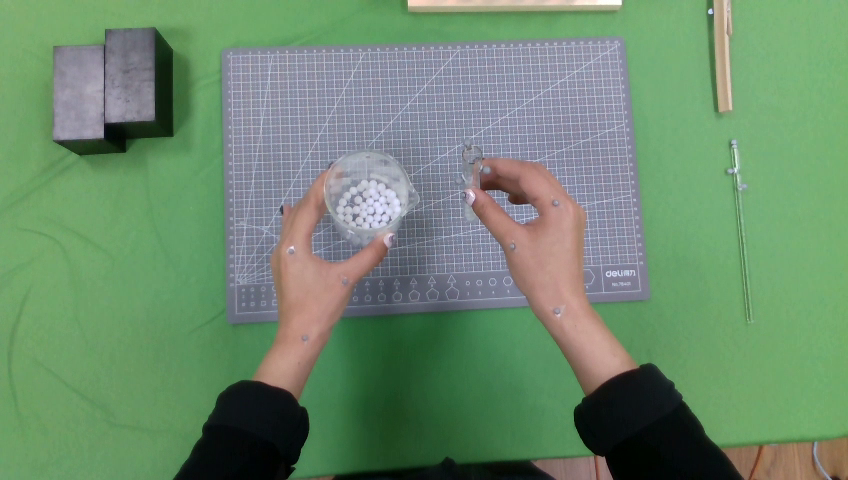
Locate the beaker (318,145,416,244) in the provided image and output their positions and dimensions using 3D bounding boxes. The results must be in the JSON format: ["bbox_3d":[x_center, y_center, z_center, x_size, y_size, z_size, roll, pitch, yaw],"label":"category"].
[{"bbox_3d":[-0.053,-0.037,0.562,0.084,0.100,0.073,7,81,-5],"label":"beaker"}]

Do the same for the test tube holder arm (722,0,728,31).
[{"bbox_3d":[0.342,-0.283,0.699,0.010,0.015,0.087,7,82,-32],"label":"test tube holder arm"}]

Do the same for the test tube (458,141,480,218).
[{"bbox_3d":[0.038,-0.046,0.515,0.017,0.151,0.017,-1,74,4],"label":"test tube"}]

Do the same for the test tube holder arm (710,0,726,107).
[{"bbox_3d":[0.335,-0.239,0.691,0.013,0.015,0.178,7,82,-32],"label":"test tube holder arm"}]

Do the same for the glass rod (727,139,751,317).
[{"bbox_3d":[0.349,-0.015,0.672,0.008,0.008,0.199,-2,83,-4],"label":"glass rod"}]

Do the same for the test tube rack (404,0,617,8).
[{"bbox_3d":[0.099,-0.304,0.655,0.242,0.085,0.066,-2,83,-3],"label":"test tube rack"}]
